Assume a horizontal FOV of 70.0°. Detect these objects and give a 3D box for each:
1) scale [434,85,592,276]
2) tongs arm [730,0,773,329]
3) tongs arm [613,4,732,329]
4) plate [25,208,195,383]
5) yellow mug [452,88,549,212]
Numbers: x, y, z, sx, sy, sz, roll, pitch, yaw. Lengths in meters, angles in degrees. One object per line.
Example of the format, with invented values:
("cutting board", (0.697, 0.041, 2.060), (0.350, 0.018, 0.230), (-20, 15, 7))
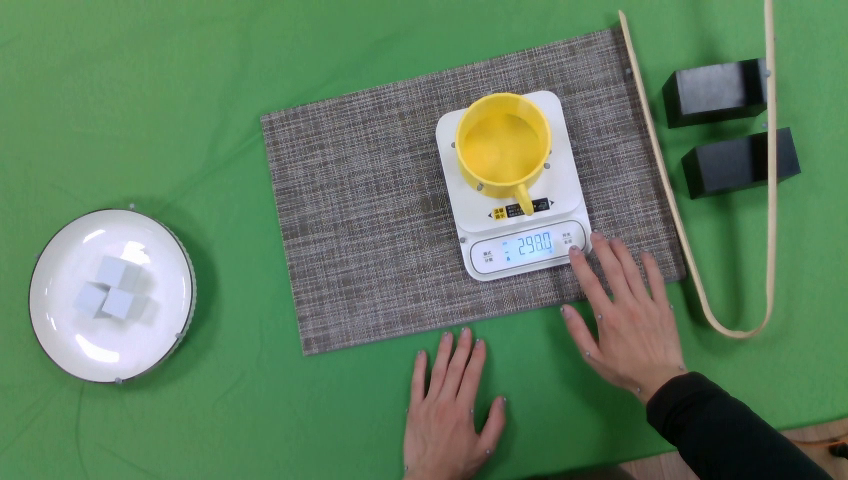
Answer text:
("scale", (0.100, -0.069, 0.694), (0.148, 0.031, 0.200), (-13, 84, 5))
("tongs arm", (0.340, -0.098, 0.635), (0.050, 0.026, 0.384), (-3, 91, 33))
("tongs arm", (0.273, -0.088, 0.681), (0.028, 0.028, 0.386), (-18, 82, 28))
("plate", (-0.373, 0.066, 0.732), (0.207, 0.039, 0.207), (-1, 84, 5))
("yellow mug", (0.087, -0.091, 0.650), (0.100, 0.064, 0.130), (-23, 84, 3))
